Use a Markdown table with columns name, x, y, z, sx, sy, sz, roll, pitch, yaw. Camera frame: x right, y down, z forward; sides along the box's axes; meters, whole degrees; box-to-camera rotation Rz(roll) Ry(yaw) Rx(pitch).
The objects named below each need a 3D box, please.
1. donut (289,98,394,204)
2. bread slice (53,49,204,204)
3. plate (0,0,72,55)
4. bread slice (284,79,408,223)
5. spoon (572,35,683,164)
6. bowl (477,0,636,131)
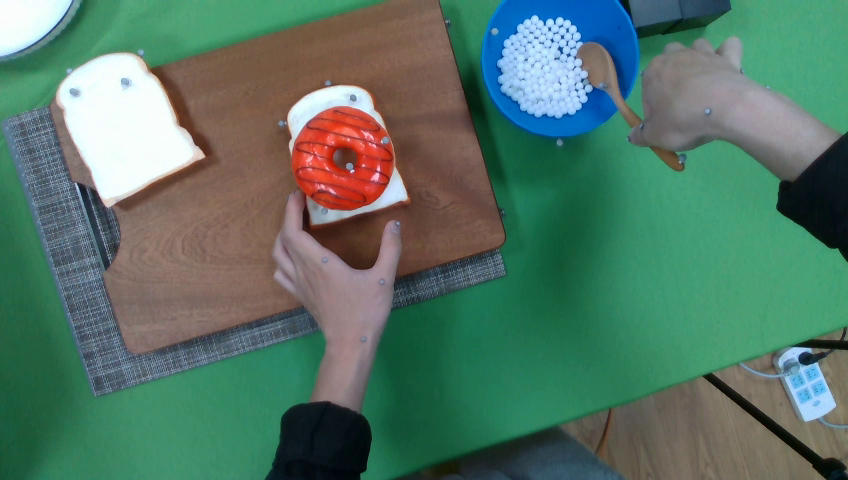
| name | x | y | z | sx | sy | sz | roll | pitch | yaw |
| --- | --- | --- | --- | --- | --- | --- | --- | --- | --- |
| donut | -0.077 | -0.083 | 0.572 | 0.099 | 0.048 | 0.099 | 0 | 94 | -3 |
| bread slice | -0.294 | -0.114 | 0.589 | 0.107 | 0.018 | 0.134 | -31 | 93 | -1 |
| plate | -0.438 | -0.282 | 0.595 | 0.208 | 0.039 | 0.207 | 0 | 93 | -2 |
| bread slice | -0.084 | -0.091 | 0.601 | 0.105 | 0.019 | 0.131 | -18 | 95 | -3 |
| spoon | 0.180 | -0.128 | 0.550 | 0.022 | 0.191 | 0.042 | -3 | 137 | -13 |
| bowl | 0.123 | -0.179 | 0.604 | 0.151 | 0.076 | 0.151 | 0 | 93 | -2 |
